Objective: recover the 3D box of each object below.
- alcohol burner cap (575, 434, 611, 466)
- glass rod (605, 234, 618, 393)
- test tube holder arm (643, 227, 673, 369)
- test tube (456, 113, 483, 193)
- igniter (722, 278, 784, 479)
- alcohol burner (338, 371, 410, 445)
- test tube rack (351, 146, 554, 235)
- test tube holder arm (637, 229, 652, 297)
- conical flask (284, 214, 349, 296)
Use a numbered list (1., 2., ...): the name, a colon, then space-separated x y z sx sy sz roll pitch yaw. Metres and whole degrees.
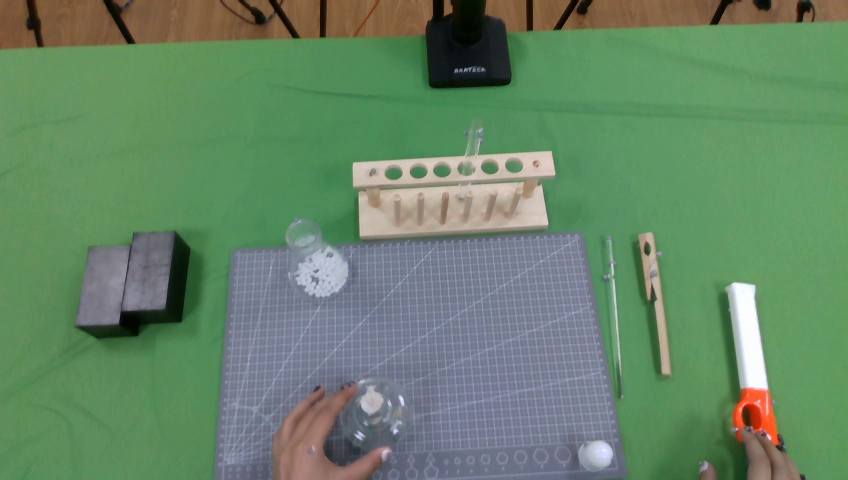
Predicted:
1. alcohol burner cap: 0.185 0.225 0.655 0.034 0.048 0.033 0 65 0
2. glass rod: 0.228 0.085 0.737 0.008 0.008 0.198 4 69 1
3. test tube holder arm: 0.284 0.068 0.738 0.013 0.015 0.177 -16 63 31
4. test tube: 0.053 -0.098 0.720 0.017 0.151 0.017 2 63 -3
5. igniter: 0.373 0.175 0.690 0.057 0.025 0.274 8 67 -8
6. alcohol burner: -0.055 0.174 0.637 0.078 0.120 0.077 -1 65 2
7. test tube rack: 0.035 -0.060 0.757 0.242 0.086 0.066 -3 67 -2
8. test tube holder arm: 0.278 0.028 0.758 0.010 0.015 0.087 -15 63 32
9. conical flask: -0.131 0.013 0.700 0.075 0.123 0.075 0 66 0
